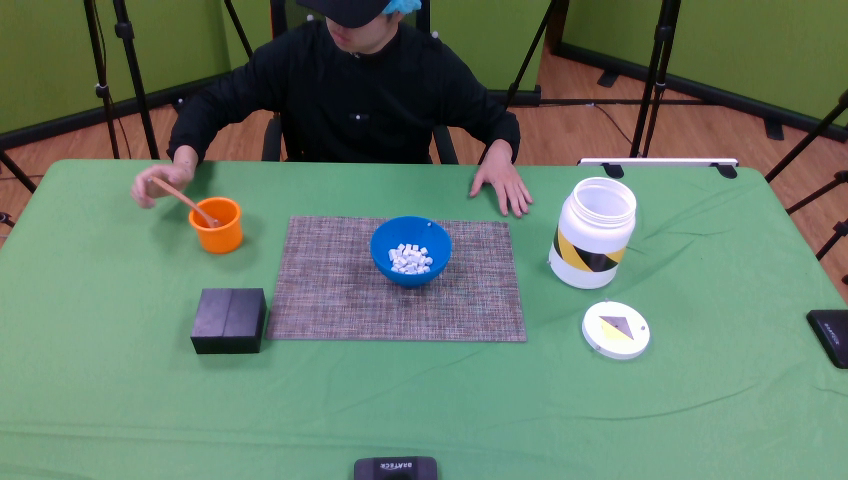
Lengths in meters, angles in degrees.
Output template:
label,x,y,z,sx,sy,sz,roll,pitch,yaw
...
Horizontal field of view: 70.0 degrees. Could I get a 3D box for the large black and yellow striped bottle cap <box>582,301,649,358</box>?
label,x,y,z,sx,sy,sz,roll,pitch,yaw
large black and yellow striped bottle cap,0.340,0.157,1.077,0.115,0.019,0.114,1,47,-1

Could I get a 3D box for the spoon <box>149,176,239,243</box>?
label,x,y,z,sx,sy,sz,roll,pitch,yaw
spoon,-0.427,-0.057,1.132,0.194,0.021,0.041,44,34,-25

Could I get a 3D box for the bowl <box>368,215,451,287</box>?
label,x,y,z,sx,sy,sz,roll,pitch,yaw
bowl,-0.028,0.033,1.119,0.151,0.077,0.150,2,46,-2

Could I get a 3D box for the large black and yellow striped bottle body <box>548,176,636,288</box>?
label,x,y,z,sx,sy,sz,roll,pitch,yaw
large black and yellow striped bottle body,0.310,-0.014,1.122,0.131,0.185,0.130,2,46,-2
